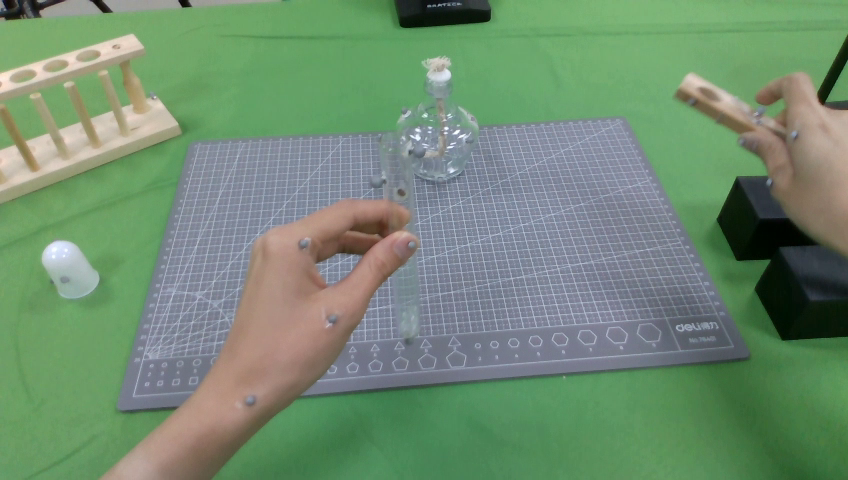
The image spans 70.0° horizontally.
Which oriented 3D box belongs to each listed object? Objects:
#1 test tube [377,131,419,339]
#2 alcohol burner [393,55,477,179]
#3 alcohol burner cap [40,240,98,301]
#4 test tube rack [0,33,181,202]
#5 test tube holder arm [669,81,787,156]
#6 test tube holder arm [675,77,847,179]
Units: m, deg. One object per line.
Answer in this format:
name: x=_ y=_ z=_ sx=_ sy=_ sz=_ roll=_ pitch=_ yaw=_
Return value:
test tube: x=-0.013 y=0.005 z=0.337 sx=0.017 sy=0.151 sz=0.017 roll=-1 pitch=44 yaw=1
alcohol burner: x=0.011 y=-0.114 z=0.548 sx=0.078 sy=0.120 sz=0.077 roll=1 pitch=48 yaw=-1
alcohol burner cap: x=-0.283 y=0.021 z=0.478 sx=0.034 sy=0.048 sz=0.033 roll=0 pitch=47 yaw=0
test tube rack: x=-0.367 y=-0.105 z=0.564 sx=0.242 sy=0.086 sz=0.066 roll=-29 pitch=53 yaw=-24
test tube holder arm: x=0.218 y=-0.087 z=0.434 sx=0.087 sy=0.015 sz=0.010 roll=33 pitch=83 yaw=13
test tube holder arm: x=0.259 y=-0.069 z=0.425 sx=0.177 sy=0.015 sz=0.013 roll=31 pitch=83 yaw=13
